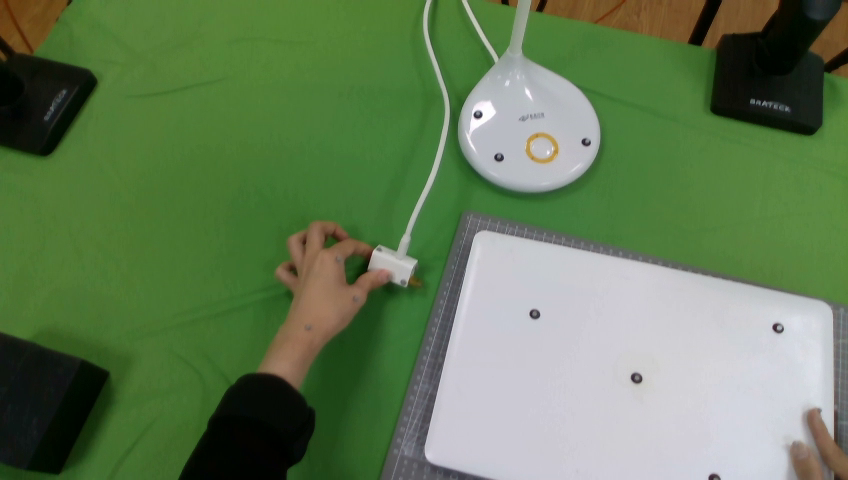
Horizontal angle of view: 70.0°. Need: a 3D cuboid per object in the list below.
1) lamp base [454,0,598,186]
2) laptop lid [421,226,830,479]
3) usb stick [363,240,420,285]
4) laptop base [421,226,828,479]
[{"bbox_3d":[0.108,-0.173,0.617,0.161,0.181,0.177,-22,65,-9],"label":"lamp base"},{"bbox_3d":[0.192,0.125,0.560,0.356,0.013,0.240,13,70,7],"label":"laptop lid"},{"bbox_3d":[-0.029,0.025,0.612,0.059,0.021,0.027,26,112,4],"label":"usb stick"},{"bbox_3d":[0.193,0.127,0.571,0.354,0.023,0.234,12,70,6],"label":"laptop base"}]
